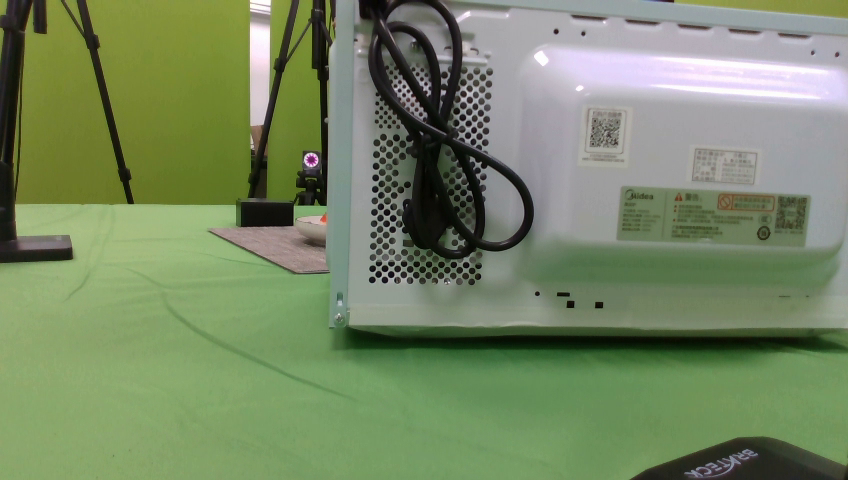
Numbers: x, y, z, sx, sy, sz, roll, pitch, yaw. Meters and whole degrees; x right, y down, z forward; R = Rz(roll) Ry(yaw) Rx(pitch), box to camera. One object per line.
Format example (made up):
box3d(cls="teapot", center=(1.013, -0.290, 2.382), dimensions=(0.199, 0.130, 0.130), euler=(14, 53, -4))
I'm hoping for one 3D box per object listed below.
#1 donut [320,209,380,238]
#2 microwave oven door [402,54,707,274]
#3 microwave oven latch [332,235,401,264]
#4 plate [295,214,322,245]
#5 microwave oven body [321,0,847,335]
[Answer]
box3d(cls="donut", center=(-0.121, -0.027, 0.996), dimensions=(0.099, 0.048, 0.099), euler=(2, 5, 0))
box3d(cls="microwave oven door", center=(0.157, -0.085, 0.717), dimensions=(0.357, 0.243, 0.039), euler=(1, 8, -8))
box3d(cls="microwave oven latch", center=(-0.066, 0.010, 0.701), dimensions=(0.079, 0.029, 0.030), euler=(2, 7, -8))
box3d(cls="plate", center=(-0.107, -0.016, 0.997), dimensions=(0.209, 0.038, 0.209), euler=(2, 7, 0))
box3d(cls="microwave oven body", center=(0.133, -0.062, 0.568), dimensions=(0.443, 0.260, 0.325), euler=(2, 7, -8))
